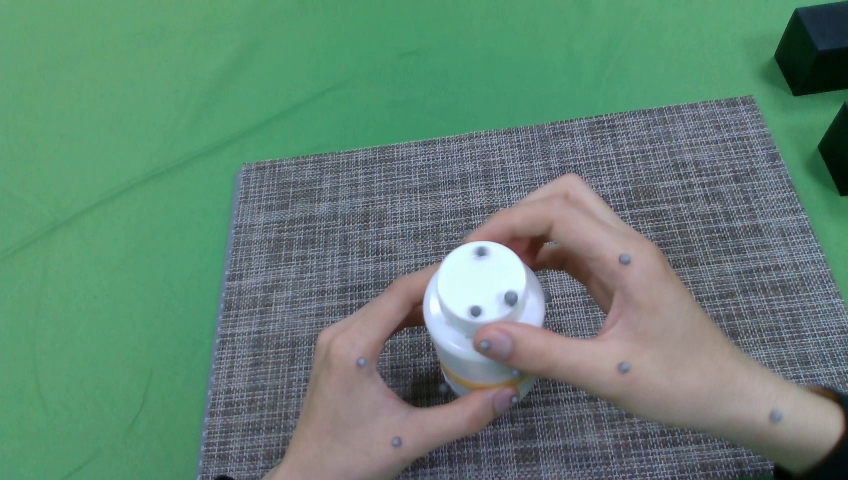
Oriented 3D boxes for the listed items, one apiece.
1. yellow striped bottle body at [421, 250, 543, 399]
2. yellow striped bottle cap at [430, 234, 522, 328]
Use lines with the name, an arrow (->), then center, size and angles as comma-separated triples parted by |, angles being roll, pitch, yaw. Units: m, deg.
yellow striped bottle body -> 0.032, 0.044, 0.337 | 0.063, 0.121, 0.062 | -2, 63, 5
yellow striped bottle cap -> 0.025, 0.019, 0.292 | 0.044, 0.019, 0.044 | 0, 61, 1
